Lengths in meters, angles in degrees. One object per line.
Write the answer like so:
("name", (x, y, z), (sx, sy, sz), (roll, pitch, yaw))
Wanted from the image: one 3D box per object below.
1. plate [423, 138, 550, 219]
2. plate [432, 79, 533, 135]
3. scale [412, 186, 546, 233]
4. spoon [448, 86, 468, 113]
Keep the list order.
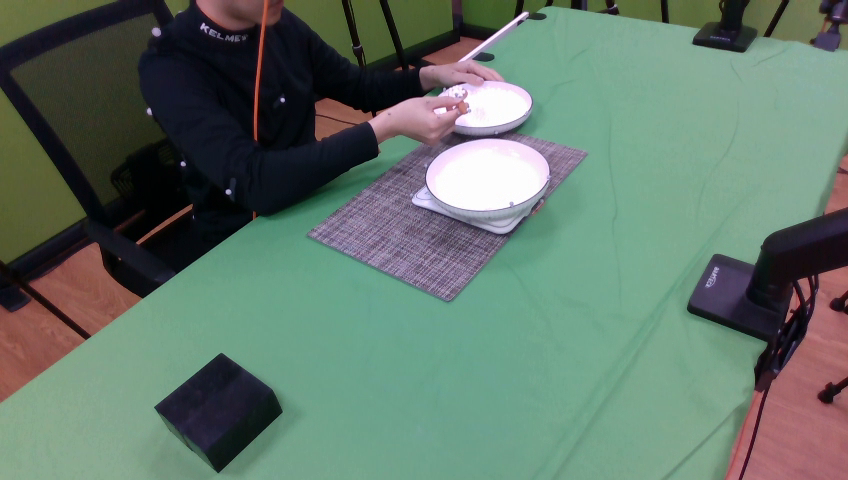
("plate", (0.104, -0.099, 1.005), (0.207, 0.039, 0.206), (-4, 41, 4))
("plate", (0.120, -0.271, 1.249), (0.209, 0.038, 0.208), (-4, 40, 4))
("scale", (0.093, -0.083, 1.039), (0.199, 0.032, 0.149), (22, 48, 30))
("spoon", (0.067, -0.265, 1.136), (0.041, 0.022, 0.193), (-8, 22, 4))
